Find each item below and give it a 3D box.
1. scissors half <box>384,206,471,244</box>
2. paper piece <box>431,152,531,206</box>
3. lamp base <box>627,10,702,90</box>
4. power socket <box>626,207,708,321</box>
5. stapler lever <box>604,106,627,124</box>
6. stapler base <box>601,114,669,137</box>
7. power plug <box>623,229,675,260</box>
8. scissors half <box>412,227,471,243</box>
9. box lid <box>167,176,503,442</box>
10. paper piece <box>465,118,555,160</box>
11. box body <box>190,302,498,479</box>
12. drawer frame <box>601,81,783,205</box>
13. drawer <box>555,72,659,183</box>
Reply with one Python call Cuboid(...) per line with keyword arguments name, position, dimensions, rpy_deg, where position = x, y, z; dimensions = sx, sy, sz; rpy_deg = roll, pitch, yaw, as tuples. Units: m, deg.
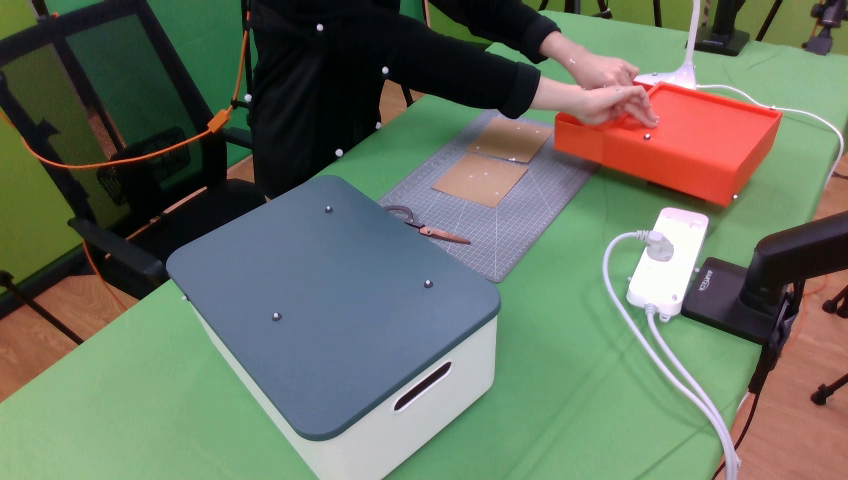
Cuboid(name="scissors half", position=(0.001, -0.024, 1.005), dimensions=(0.174, 0.013, 0.040), rpy_deg=(22, 58, 25))
Cuboid(name="paper piece", position=(0.104, -0.116, 1.104), dimensions=(0.135, 0.004, 0.136), rpy_deg=(21, 46, 29))
Cuboid(name="lamp base", position=(0.484, -0.364, 1.211), dimensions=(0.180, 0.181, 0.159), rpy_deg=(-15, 41, -14))
Cuboid(name="power socket", position=(0.360, 0.026, 0.886), dimensions=(0.072, 0.033, 0.227), rpy_deg=(16, 46, 26))
Cuboid(name="stapler lever", position=(0.368, -0.225, 1.066), dimensions=(0.118, 0.040, 0.026), rpy_deg=(-21, 18, -21))
Cuboid(name="stapler base", position=(0.371, -0.205, 1.070), dimensions=(0.131, 0.024, 0.041), rpy_deg=(-15, 15, -23))
Cuboid(name="power plug", position=(0.327, 0.007, 0.878), dimensions=(0.072, 0.053, 0.035), rpy_deg=(25, 51, 33))
Cuboid(name="scissors half", position=(-0.007, -0.010, 0.993), dimensions=(0.174, 0.013, 0.040), rpy_deg=(8, 47, 15))
Cuboid(name="box lid", position=(-0.119, 0.047, 0.714), dimensions=(0.264, 0.015, 0.368), rpy_deg=(-32, 47, -27))
Cuboid(name="paper piece", position=(0.171, -0.201, 1.195), dimensions=(0.137, 0.009, 0.136), rpy_deg=(16, 42, 28))
Cuboid(name="box body", position=(-0.110, 0.103, 0.761), dimensions=(0.255, 0.161, 0.361), rpy_deg=(-33, 46, -27))
Cuboid(name="drawer frame", position=(0.436, -0.168, 0.995), dimensions=(0.212, 0.083, 0.202), rpy_deg=(27, 51, 33))
Cuboid(name="drawer", position=(0.365, -0.200, 1.047), dimensions=(0.210, 0.073, 0.195), rpy_deg=(27, 50, 33))
